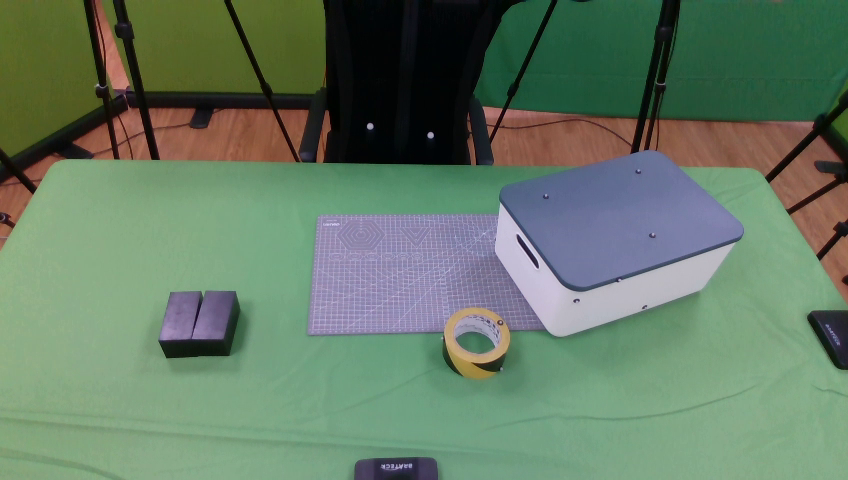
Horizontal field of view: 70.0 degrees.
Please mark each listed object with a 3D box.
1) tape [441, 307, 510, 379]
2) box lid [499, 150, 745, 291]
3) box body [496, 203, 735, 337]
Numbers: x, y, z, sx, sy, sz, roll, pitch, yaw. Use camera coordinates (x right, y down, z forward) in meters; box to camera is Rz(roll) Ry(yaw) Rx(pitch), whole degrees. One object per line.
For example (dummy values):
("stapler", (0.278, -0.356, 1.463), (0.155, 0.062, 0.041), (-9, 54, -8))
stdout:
("tape", (0.087, 0.172, 1.014), (0.117, 0.053, 0.116), (2, 48, -2))
("box lid", (0.341, -0.049, 1.064), (0.372, 0.015, 0.261), (-15, 48, -18))
("box body", (0.340, 0.003, 1.118), (0.364, 0.161, 0.252), (-15, 49, -18))
